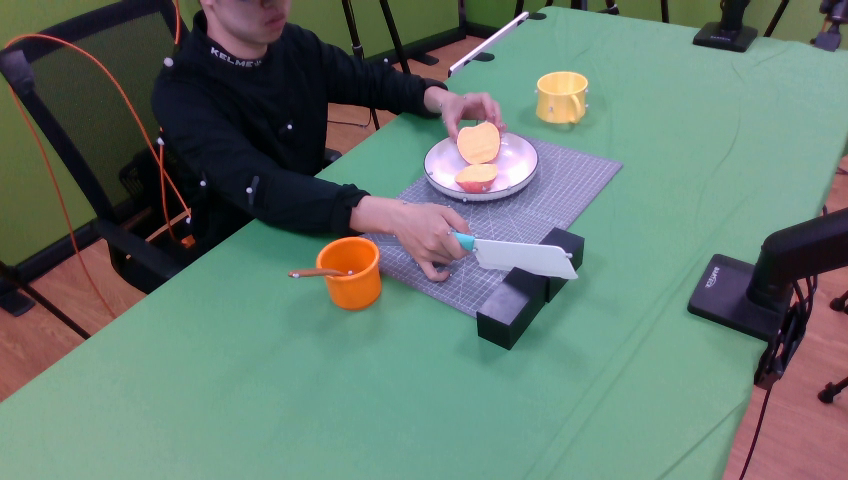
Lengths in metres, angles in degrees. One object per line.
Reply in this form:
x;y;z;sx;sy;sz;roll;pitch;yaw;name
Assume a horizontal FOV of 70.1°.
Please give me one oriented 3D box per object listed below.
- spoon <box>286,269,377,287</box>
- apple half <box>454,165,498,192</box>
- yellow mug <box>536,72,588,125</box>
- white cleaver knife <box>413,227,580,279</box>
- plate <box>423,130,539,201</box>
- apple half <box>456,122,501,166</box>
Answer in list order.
-0.125;0.050;0.831;0.041;0.195;0.021;22;92;28;spoon
0.094;-0.103;1.051;0.081;0.033;0.081;-9;27;5;apple half
0.285;-0.281;1.222;0.100;0.064;0.130;-16;42;-9;yellow mug
0.090;0.020;0.865;0.284;0.066;0.021;9;46;44;white cleaver knife
0.103;-0.132;1.092;0.209;0.038;0.208;-4;40;4;plate
0.102;-0.172;1.102;0.080;0.053;0.074;-17;82;9;apple half
